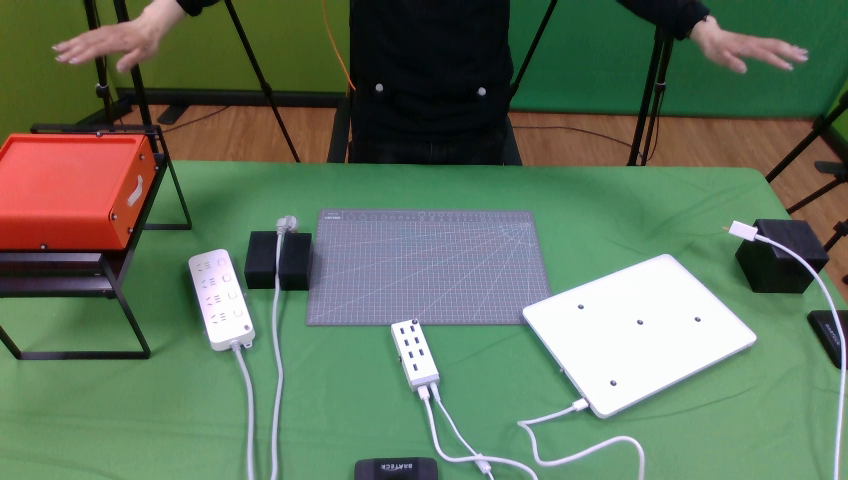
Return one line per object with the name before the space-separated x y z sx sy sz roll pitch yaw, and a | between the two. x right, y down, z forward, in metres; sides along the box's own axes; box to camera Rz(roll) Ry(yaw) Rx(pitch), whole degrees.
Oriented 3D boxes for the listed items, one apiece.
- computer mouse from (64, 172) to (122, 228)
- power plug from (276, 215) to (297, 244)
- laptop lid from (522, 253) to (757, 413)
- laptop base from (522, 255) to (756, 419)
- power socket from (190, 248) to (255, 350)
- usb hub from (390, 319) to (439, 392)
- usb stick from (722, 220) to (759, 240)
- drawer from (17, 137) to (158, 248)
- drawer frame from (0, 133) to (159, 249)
computer mouse | -0.521 -0.066 0.955 0.063 0.041 0.116 0 48 -9
power plug | -0.267 -0.015 1.157 0.035 0.053 0.072 7 63 26
laptop lid | 0.380 0.147 1.073 0.357 0.013 0.240 -17 48 -19
laptop base | 0.381 0.157 1.080 0.355 0.023 0.234 -18 48 -20
power socket | -0.358 0.100 1.069 0.072 0.033 0.225 -17 51 -18
usb hub | -0.016 0.190 1.013 0.049 0.025 0.124 -11 48 -15
usb stick | 0.593 -0.021 1.139 0.059 0.027 0.021 22 12 29
drawer | -0.549 -0.079 0.944 0.212 0.073 0.193 0 47 -3
drawer frame | -0.553 -0.078 0.942 0.214 0.083 0.200 -1 47 -4
